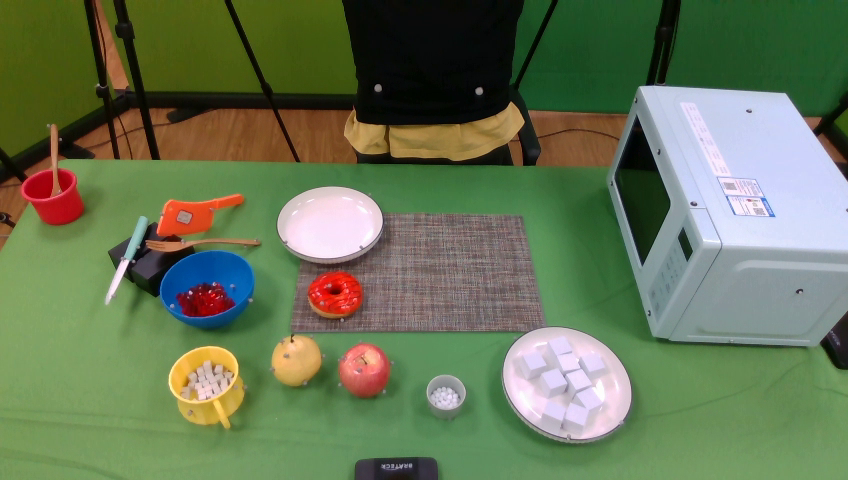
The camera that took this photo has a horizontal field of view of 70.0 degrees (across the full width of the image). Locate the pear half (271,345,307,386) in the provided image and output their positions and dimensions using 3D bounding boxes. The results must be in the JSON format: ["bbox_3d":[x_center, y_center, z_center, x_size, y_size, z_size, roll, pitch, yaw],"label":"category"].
[{"bbox_3d":[-0.216,0.200,0.943,0.070,0.088,0.031,27,49,15],"label":"pear half"}]

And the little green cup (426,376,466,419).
[{"bbox_3d":[0.033,0.248,0.950,0.061,0.039,0.061,2,46,-2],"label":"little green cup"}]

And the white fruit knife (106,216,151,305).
[{"bbox_3d":[-0.519,0.032,1.066,0.027,0.016,0.206,-18,45,19],"label":"white fruit knife"}]

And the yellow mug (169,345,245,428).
[{"bbox_3d":[-0.322,0.230,0.922,0.100,0.064,0.130,-24,53,-25],"label":"yellow mug"}]

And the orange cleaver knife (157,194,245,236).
[{"bbox_3d":[-0.427,-0.050,1.175,0.012,0.077,0.211,23,19,20],"label":"orange cleaver knife"}]

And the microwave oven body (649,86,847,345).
[{"bbox_3d":[0.567,-0.053,1.118,0.326,0.261,0.439,2,45,-1],"label":"microwave oven body"}]

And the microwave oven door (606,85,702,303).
[{"bbox_3d":[0.423,-0.094,1.140,0.039,0.245,0.353,2,46,-1],"label":"microwave oven door"}]

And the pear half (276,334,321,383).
[{"bbox_3d":[-0.195,0.172,0.957,0.076,0.110,0.056,27,51,16],"label":"pear half"}]

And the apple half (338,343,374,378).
[{"bbox_3d":[-0.112,0.192,0.968,0.081,0.081,0.032,-32,59,-29],"label":"apple half"}]

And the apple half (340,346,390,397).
[{"bbox_3d":[-0.085,0.214,0.950,0.081,0.075,0.053,-29,58,-32],"label":"apple half"}]

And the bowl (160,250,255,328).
[{"bbox_3d":[-0.362,0.097,1.040,0.151,0.077,0.150,2,45,-2],"label":"bowl"}]

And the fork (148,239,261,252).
[{"bbox_3d":[-0.399,0.007,1.118,0.208,0.019,0.028,-4,34,-37],"label":"fork"}]

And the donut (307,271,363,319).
[{"bbox_3d":[-0.157,0.097,1.073,0.099,0.048,0.098,4,45,-4],"label":"donut"}]

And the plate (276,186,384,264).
[{"bbox_3d":[-0.184,-0.027,1.195,0.209,0.038,0.208,2,46,-2],"label":"plate"}]

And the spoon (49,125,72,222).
[{"bbox_3d":[-0.717,-0.131,1.189,0.041,0.021,0.193,-3,90,-6],"label":"spoon"}]

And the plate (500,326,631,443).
[{"bbox_3d":[0.224,0.233,0.978,0.208,0.039,0.206,2,46,-2],"label":"plate"}]

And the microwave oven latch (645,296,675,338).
[{"bbox_3d":[0.411,0.134,1.061,0.030,0.029,0.078,4,45,0],"label":"microwave oven latch"}]
